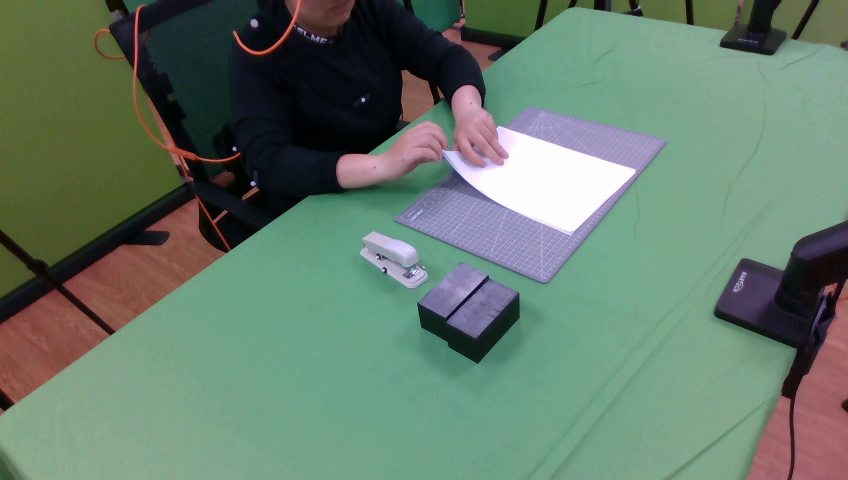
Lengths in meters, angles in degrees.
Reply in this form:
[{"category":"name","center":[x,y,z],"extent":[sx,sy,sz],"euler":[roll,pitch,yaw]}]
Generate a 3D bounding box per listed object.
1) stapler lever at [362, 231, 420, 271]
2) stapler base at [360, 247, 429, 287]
[{"category":"stapler lever","center":[-0.052,0.011,0.933],"extent":[0.027,0.040,0.117],"euler":[-34,45,-31]},{"category":"stapler base","center":[-0.048,0.031,0.949],"extent":[0.041,0.024,0.129],"euler":[-34,45,-31]}]
